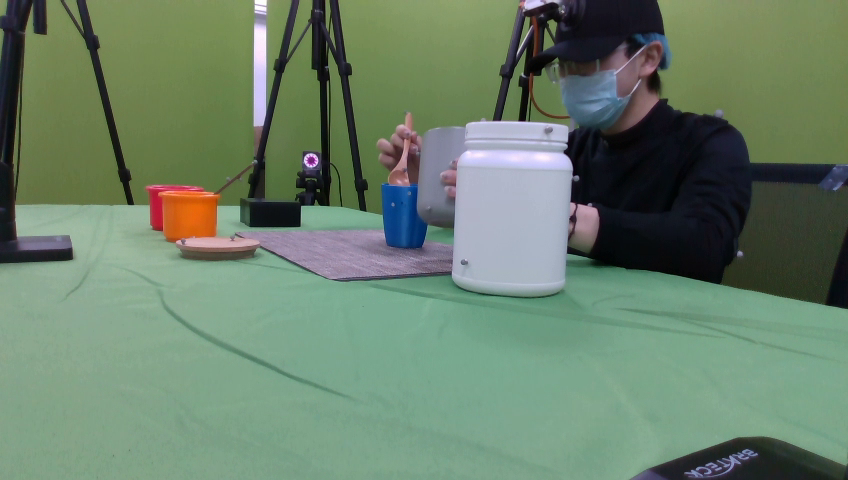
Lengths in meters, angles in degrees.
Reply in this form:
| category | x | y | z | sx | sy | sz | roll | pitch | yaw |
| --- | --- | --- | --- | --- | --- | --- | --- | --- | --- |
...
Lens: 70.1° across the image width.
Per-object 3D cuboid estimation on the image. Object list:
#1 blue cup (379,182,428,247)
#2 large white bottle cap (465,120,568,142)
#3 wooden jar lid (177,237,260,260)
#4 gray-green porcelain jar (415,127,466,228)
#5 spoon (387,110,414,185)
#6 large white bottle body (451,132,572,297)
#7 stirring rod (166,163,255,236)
| category | x | y | z | sx | sy | sz | roll | pitch | yaw |
| --- | --- | --- | --- | --- | --- | --- | --- | --- | --- |
| blue cup | -0.030 | -0.042 | 0.980 | 0.093 | 0.100 | 0.092 | 2 | 9 | 0 |
| large white bottle cap | 0.103 | -0.121 | 0.677 | 0.115 | 0.018 | 0.115 | 3 | 7 | 0 |
| wooden jar lid | -0.283 | 0.012 | 0.834 | 0.108 | 0.020 | 0.108 | 1 | 8 | 0 |
| gray-green porcelain jar | 0.042 | -0.083 | 0.855 | 0.106 | 0.126 | 0.106 | 4 | -7 | 1 |
| spoon | -0.032 | -0.151 | 1.012 | 0.042 | 0.193 | 0.021 | 24 | -36 | -20 |
| large white bottle body | 0.099 | -0.037 | 0.688 | 0.131 | 0.184 | 0.130 | 2 | 7 | 0 |
| stirring rod | -0.341 | -0.066 | 0.967 | 0.176 | 0.006 | 0.014 | -42 | 23 | -9 |
